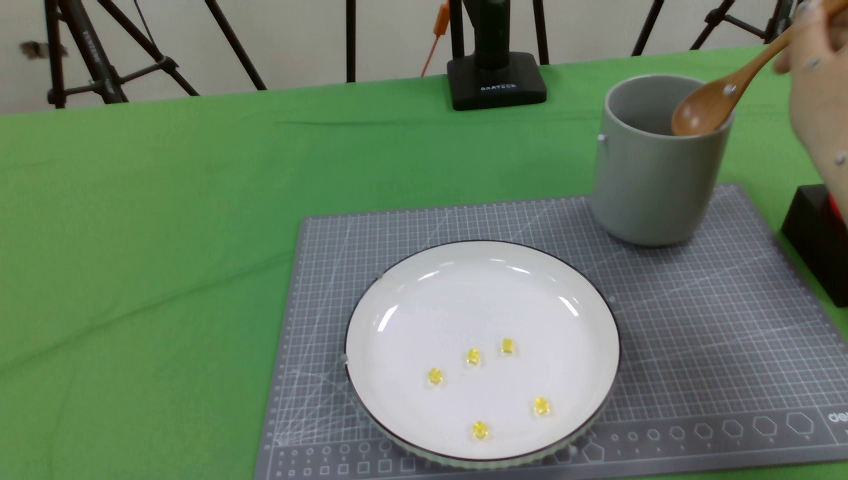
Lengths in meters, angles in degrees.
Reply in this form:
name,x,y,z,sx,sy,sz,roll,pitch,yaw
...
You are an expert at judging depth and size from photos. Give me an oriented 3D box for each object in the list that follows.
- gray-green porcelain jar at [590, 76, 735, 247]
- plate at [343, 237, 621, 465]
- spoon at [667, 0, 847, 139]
name,x,y,z,sx,sy,sz,roll,pitch,yaw
gray-green porcelain jar,0.207,-0.066,0.546,0.106,0.128,0.105,-3,43,3
plate,0.043,0.080,0.471,0.207,0.039,0.205,-3,43,3
spoon,0.241,-0.128,0.424,0.022,0.194,0.041,4,65,-17
